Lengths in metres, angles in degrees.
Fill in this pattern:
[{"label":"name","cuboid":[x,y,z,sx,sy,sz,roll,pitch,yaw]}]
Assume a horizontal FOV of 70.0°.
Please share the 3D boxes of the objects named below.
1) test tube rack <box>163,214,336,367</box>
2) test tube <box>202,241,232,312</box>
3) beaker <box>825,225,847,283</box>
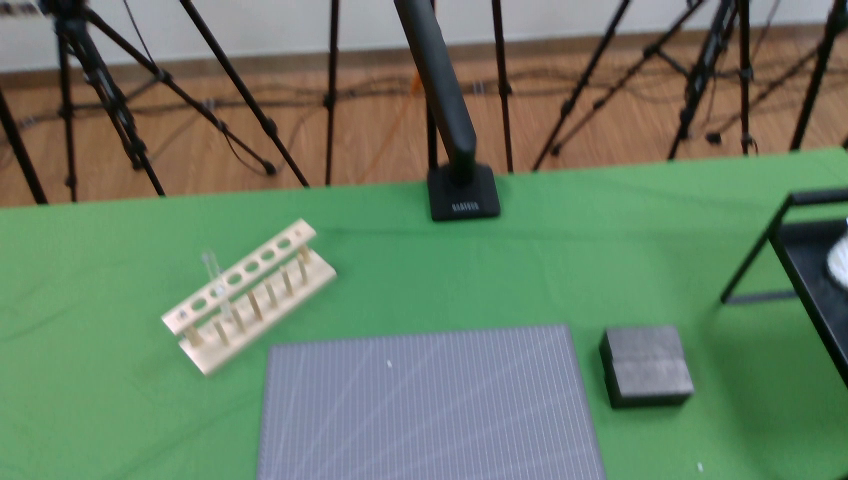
[{"label":"test tube rack","cuboid":[-0.250,0.072,0.900,0.066,0.086,0.242,38,62,25]},{"label":"test tube","cuboid":[-0.288,0.055,0.851,0.017,0.151,0.017,3,49,-3]},{"label":"beaker","cuboid":[0.536,0.001,0.721,0.074,0.101,0.083,-10,54,-8]}]
